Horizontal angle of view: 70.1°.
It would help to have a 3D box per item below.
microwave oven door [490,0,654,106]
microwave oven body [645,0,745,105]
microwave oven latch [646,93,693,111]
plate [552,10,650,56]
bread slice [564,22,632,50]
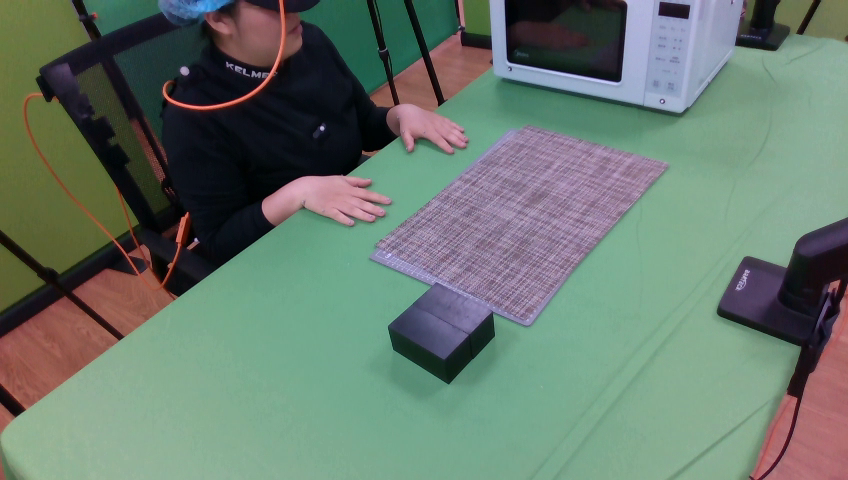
[{"bbox_3d":[0.292,-0.420,1.228,0.353,0.245,0.039,22,49,32],"label":"microwave oven door"},{"bbox_3d":[0.416,-0.486,1.290,0.438,0.261,0.327,21,50,33],"label":"microwave oven body"},{"bbox_3d":[0.477,-0.273,1.177,0.078,0.029,0.030,22,50,33],"label":"microwave oven latch"},{"bbox_3d":[0.390,-0.455,1.339,0.209,0.038,0.208,-6,39,5],"label":"plate"},{"bbox_3d":[0.394,-0.454,1.344,0.105,0.019,0.130,-35,43,-26],"label":"bread slice"}]
